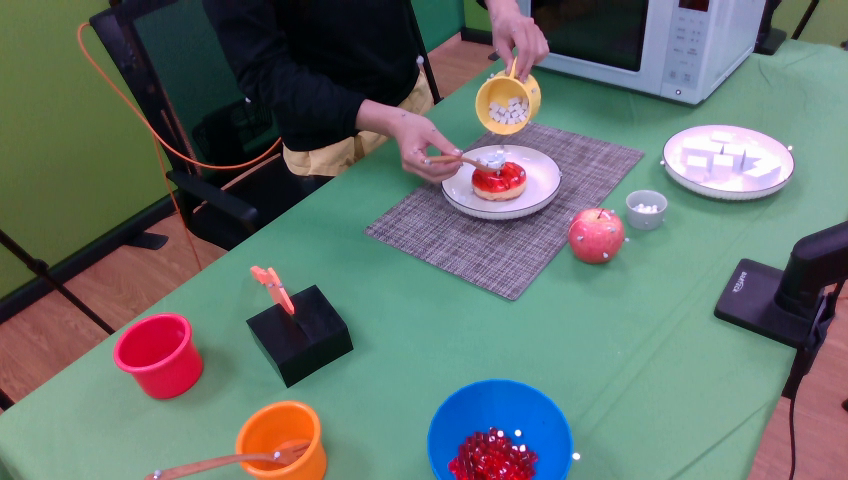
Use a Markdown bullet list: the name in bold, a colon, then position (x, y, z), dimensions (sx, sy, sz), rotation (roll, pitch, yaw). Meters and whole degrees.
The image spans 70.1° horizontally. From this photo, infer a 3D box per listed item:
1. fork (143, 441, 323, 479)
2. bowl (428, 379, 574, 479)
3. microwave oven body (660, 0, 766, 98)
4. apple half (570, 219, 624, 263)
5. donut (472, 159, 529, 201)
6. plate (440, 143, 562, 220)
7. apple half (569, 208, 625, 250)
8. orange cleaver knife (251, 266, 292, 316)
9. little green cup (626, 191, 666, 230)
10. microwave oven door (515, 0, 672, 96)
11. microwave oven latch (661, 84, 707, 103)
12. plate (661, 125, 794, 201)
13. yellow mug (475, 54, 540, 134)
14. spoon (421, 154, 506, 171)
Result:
- **fork**: position (-0.189, 0.231, 0.631), dimensions (0.028, 0.018, 0.209), rotation (35, 13, 37)
- **bowl**: position (0.082, 0.233, 0.644), dimensions (0.151, 0.077, 0.150), rotation (-4, 40, 4)
- **microwave oven body**: position (0.472, -0.513, 1.317), dimensions (0.438, 0.261, 0.327), rotation (26, 51, 34)
- **apple half**: position (0.250, 0.010, 0.885), dimensions (0.081, 0.081, 0.033), rotation (7, 39, 17)
- **donut**: position (0.132, -0.106, 1.043), dimensions (0.099, 0.048, 0.098), rotation (-4, 39, 4)
- **plate**: position (0.134, -0.098, 1.052), dimensions (0.209, 0.038, 0.208), rotation (-4, 40, 4)
- **apple half**: position (0.262, -0.014, 0.913), dimensions (0.080, 0.075, 0.053), rotation (4, 37, 20)
- **orange cleaver knife**: position (-0.221, 0.071, 0.873), dimensions (0.012, 0.077, 0.210), rotation (-25, 11, -21)
- **little green cup**: position (0.352, -0.046, 0.963), dimensions (0.061, 0.039, 0.061), rotation (-4, 40, 4)
- **microwave oven door**: position (0.343, -0.455, 1.259), dimensions (0.353, 0.245, 0.039), rotation (26, 51, 33)
- **microwave oven latch**: position (0.517, -0.296, 1.204), dimensions (0.078, 0.029, 0.030), rotation (27, 52, 35)
- **plate**: position (0.513, -0.128, 1.035), dimensions (0.207, 0.039, 0.206), rotation (-4, 40, 4)
- **yellow mug**: position (0.147, -0.253, 1.039), dimensions (0.099, 0.131, 0.064), rotation (20, 32, 14)
- **spoon**: position (0.061, -0.122, 0.922), dimensions (0.041, 0.021, 0.195), rotation (29, 19, 37)
